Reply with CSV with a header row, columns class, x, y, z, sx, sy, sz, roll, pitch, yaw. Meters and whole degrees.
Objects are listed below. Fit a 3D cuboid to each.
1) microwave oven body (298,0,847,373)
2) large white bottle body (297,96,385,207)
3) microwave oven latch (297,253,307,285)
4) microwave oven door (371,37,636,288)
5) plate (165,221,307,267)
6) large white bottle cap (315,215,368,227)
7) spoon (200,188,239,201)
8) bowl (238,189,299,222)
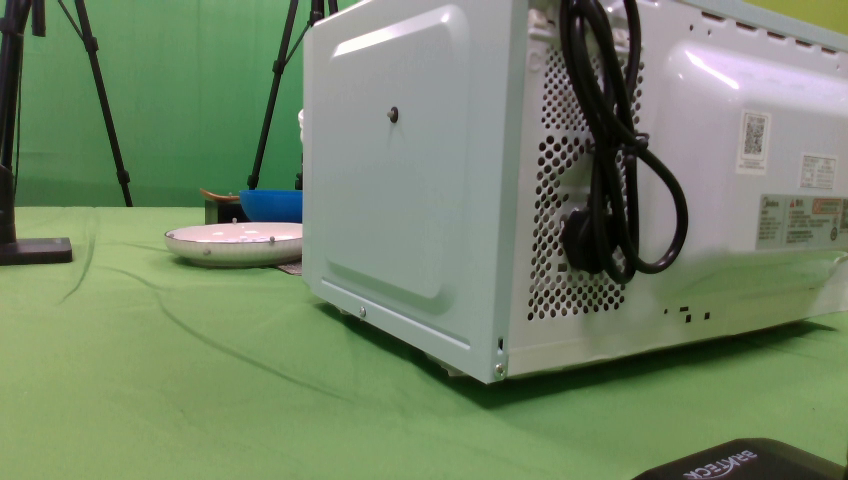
class,x,y,z,sx,sy,sz,roll,pitch,yaw
microwave oven body,0.151,-0.055,0.542,0.444,0.260,0.324,-2,7,-33
large white bottle body,-0.162,-0.173,1.172,0.130,0.185,0.130,-13,33,9
microwave oven latch,-0.082,0.027,0.582,0.079,0.029,0.030,-1,7,-32
microwave oven door,0.109,-0.080,0.686,0.358,0.243,0.039,-2,9,-33
plate,-0.241,0.004,0.829,0.209,0.038,0.209,0,9,0
large white bottle cap,-0.177,-0.042,1.309,0.115,0.018,0.115,2,6,0
spoon,-0.338,-0.080,1.190,0.194,0.021,0.041,5,3,-19
bowl,-0.245,-0.046,1.052,0.151,0.077,0.151,2,8,0
